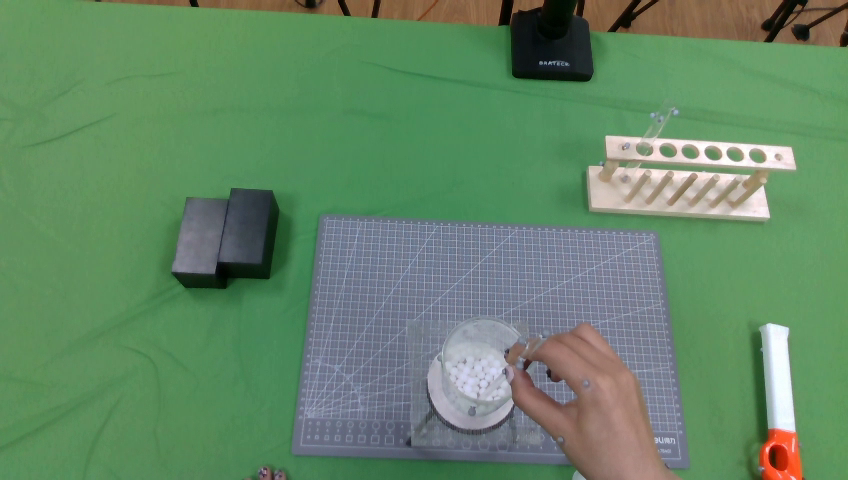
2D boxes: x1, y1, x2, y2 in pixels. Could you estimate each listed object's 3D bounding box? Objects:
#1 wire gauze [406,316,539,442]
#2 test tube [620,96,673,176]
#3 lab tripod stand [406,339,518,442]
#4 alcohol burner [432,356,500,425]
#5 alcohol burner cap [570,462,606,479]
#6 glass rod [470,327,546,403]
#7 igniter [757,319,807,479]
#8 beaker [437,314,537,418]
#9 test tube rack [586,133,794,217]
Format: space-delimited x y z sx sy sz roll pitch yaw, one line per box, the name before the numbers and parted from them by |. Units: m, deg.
wire gauze | 0.045 0.132 0.586 0.125 0.011 0.120 -1 64 -1
test tube | 0.277 -0.126 0.760 0.017 0.151 0.017 1 63 -1
lab tripod stand | 0.042 0.162 0.644 0.148 0.132 0.147 1 65 -1
alcohol burner | 0.047 0.159 0.657 0.078 0.120 0.077 2 64 -4
alcohol burner cap | 0.182 0.259 0.664 0.034 0.048 0.033 1 65 -2
glass rod | 0.062 0.106 0.486 0.008 0.201 0.008 5 62 -8
igniter | 0.411 0.226 0.699 0.057 0.025 0.274 14 66 -8
beaker | 0.051 0.116 0.540 0.084 0.101 0.073 -2 65 -4
test tube rack | 0.347 -0.084 0.800 0.242 0.086 0.066 3 66 -2
